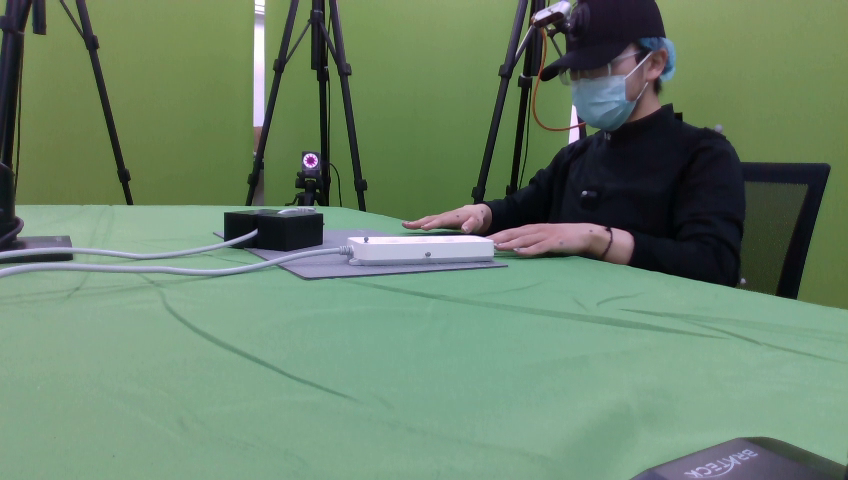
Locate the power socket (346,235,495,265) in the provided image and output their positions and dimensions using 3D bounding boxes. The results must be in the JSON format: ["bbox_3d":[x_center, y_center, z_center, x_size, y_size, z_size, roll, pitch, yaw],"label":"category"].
[{"bbox_3d":[-0.003,0.012,0.852,0.228,0.032,0.072,-2,7,-26],"label":"power socket"}]

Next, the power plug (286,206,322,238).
[{"bbox_3d":[-0.203,-0.029,1.001,0.073,0.052,0.035,-1,3,-41],"label":"power plug"}]
